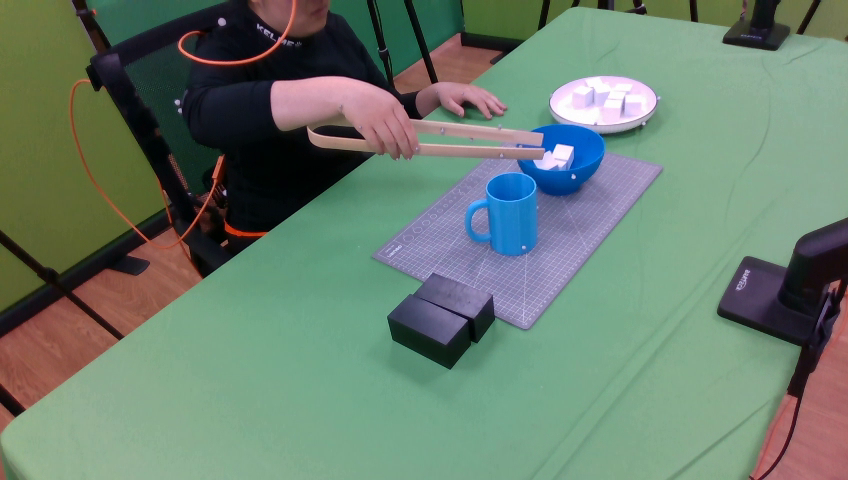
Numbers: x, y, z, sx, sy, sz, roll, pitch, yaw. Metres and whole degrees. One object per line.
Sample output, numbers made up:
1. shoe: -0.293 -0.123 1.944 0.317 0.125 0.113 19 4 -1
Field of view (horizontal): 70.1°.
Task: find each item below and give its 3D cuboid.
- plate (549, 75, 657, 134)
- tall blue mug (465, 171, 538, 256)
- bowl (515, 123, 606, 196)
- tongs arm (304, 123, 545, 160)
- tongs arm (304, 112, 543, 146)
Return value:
1. plate: 0.357 -0.269 1.220 0.209 0.038 0.208 -5 41 5
2. tall blue mug: 0.125 -0.033 0.925 0.107 0.108 0.077 -32 46 -25
3. bowl: 0.234 -0.130 1.044 0.151 0.077 0.150 -5 40 5
4. tongs arm: -0.002 -0.154 0.968 0.388 0.028 0.028 5 56 2
5. tongs arm: 0.000 -0.173 0.984 0.384 0.026 0.050 8 52 5
